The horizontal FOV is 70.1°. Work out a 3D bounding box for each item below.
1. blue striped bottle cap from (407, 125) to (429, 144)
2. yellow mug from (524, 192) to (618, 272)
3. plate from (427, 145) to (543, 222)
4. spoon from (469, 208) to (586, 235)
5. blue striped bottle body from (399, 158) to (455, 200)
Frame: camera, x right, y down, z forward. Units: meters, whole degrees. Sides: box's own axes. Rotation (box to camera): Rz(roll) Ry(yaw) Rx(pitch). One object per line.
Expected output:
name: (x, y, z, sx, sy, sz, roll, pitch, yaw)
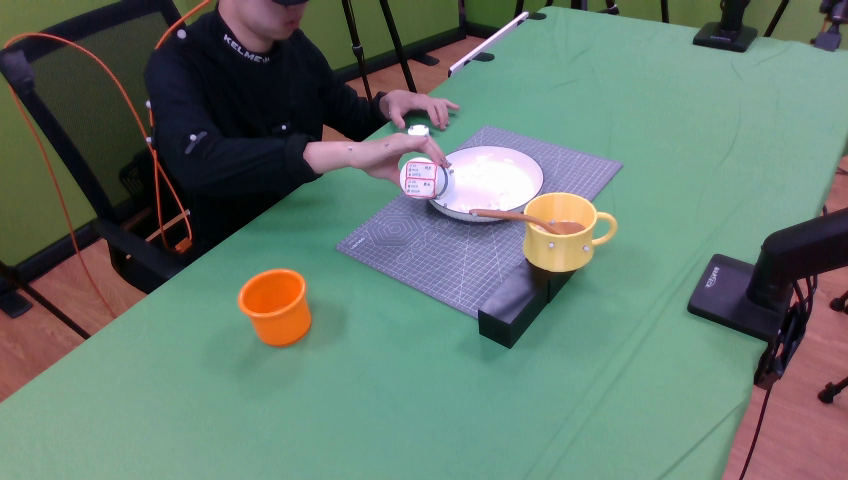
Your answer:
blue striped bottle cap: (-0.012, -0.214, 1.227, 0.044, 0.021, 0.044, -5, 37, 4)
yellow mug: (0.206, -0.014, 0.845, 0.131, 0.064, 0.099, -4, 41, 2)
plate: (0.101, -0.094, 1.048, 0.207, 0.039, 0.206, -4, 41, 4)
spoon: (0.143, -0.026, 0.817, 0.195, 0.021, 0.041, 12, 34, -29)
blue striped bottle body: (0.010, -0.094, 0.958, 0.063, 0.063, 0.121, 9, 5, 19)
